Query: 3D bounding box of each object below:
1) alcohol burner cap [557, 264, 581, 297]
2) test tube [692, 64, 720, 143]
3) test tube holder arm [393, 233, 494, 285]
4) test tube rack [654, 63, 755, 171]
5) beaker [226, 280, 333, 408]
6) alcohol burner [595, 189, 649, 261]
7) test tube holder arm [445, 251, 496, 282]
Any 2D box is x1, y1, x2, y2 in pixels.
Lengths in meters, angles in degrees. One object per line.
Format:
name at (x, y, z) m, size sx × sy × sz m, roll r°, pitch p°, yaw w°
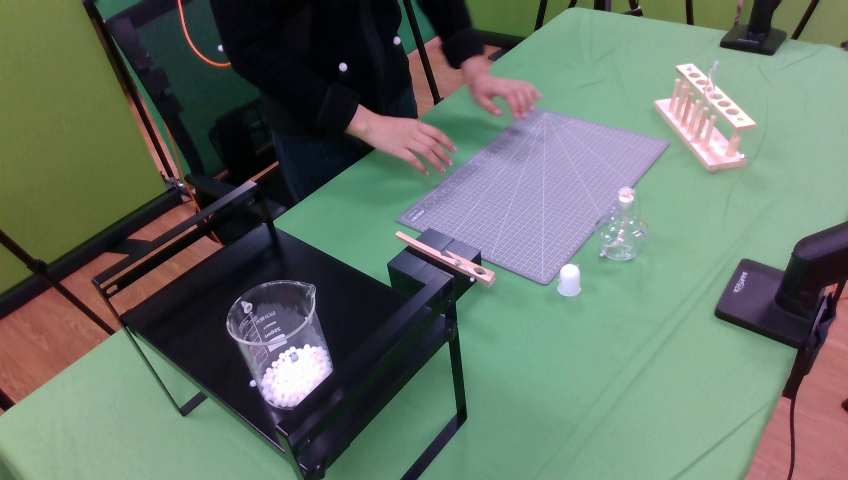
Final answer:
alcohol burner cap at (0.208, 0.055, 0.866) m, size 0.034 × 0.048 × 0.033 m, roll -4°, pitch 42°, yaw 4°
test tube at (0.492, -0.236, 1.056) m, size 0.017 × 0.151 × 0.017 m, roll -3°, pitch 43°, yaw 3°
test tube holder arm at (0.024, 0.025, 0.872) m, size 0.177 × 0.015 × 0.013 m, roll 22°, pitch 56°, yaw 31°
test tube rack at (0.510, -0.233, 1.120) m, size 0.067 × 0.085 × 0.241 m, roll -8°, pitch 41°, yaw -1°
beaker at (-0.123, 0.096, 0.546) m, size 0.073 × 0.101 × 0.084 m, roll 27°, pitch 51°, yaw 33°
alcohol burner at (0.294, -0.028, 0.894) m, size 0.078 × 0.119 × 0.077 m, roll -4°, pitch 43°, yaw 4°
test tube holder arm at (0.063, 0.036, 0.851) m, size 0.087 × 0.015 × 0.010 m, roll 24°, pitch 57°, yaw 32°
